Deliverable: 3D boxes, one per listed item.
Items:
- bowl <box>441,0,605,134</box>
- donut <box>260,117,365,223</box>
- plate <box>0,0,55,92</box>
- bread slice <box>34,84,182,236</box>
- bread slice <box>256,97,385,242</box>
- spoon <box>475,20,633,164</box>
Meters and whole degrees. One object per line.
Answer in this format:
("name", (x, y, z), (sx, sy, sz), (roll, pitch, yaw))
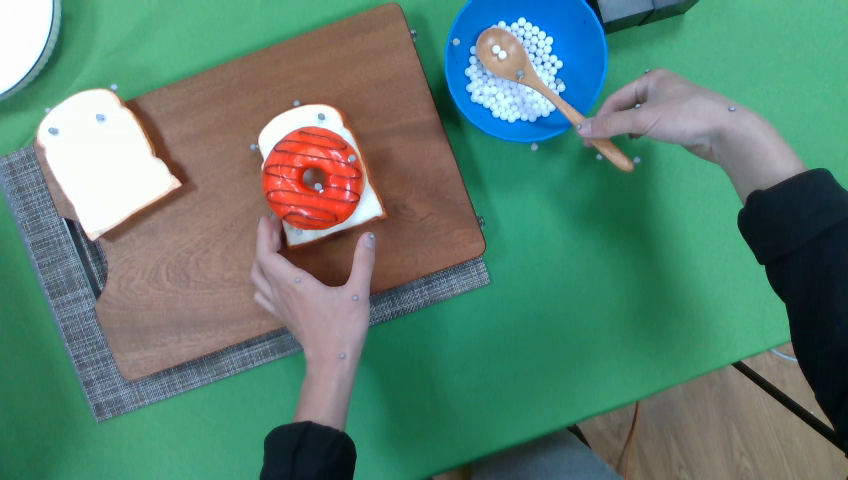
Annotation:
("bowl", (0.091, -0.174, 0.591), (0.151, 0.077, 0.151), (0, 94, 1))
("donut", (-0.105, -0.065, 0.572), (0.099, 0.048, 0.099), (0, 95, 1))
("plate", (-0.474, -0.244, 0.616), (0.208, 0.039, 0.207), (0, 94, 1))
("bread slice", (-0.321, -0.085, 0.603), (0.107, 0.018, 0.134), (-34, 91, 2))
("bread slice", (-0.111, -0.073, 0.602), (0.105, 0.019, 0.131), (-21, 95, 1))
("spoon", (0.119, -0.137, 0.560), (0.041, 0.022, 0.192), (-42, 72, 0))
